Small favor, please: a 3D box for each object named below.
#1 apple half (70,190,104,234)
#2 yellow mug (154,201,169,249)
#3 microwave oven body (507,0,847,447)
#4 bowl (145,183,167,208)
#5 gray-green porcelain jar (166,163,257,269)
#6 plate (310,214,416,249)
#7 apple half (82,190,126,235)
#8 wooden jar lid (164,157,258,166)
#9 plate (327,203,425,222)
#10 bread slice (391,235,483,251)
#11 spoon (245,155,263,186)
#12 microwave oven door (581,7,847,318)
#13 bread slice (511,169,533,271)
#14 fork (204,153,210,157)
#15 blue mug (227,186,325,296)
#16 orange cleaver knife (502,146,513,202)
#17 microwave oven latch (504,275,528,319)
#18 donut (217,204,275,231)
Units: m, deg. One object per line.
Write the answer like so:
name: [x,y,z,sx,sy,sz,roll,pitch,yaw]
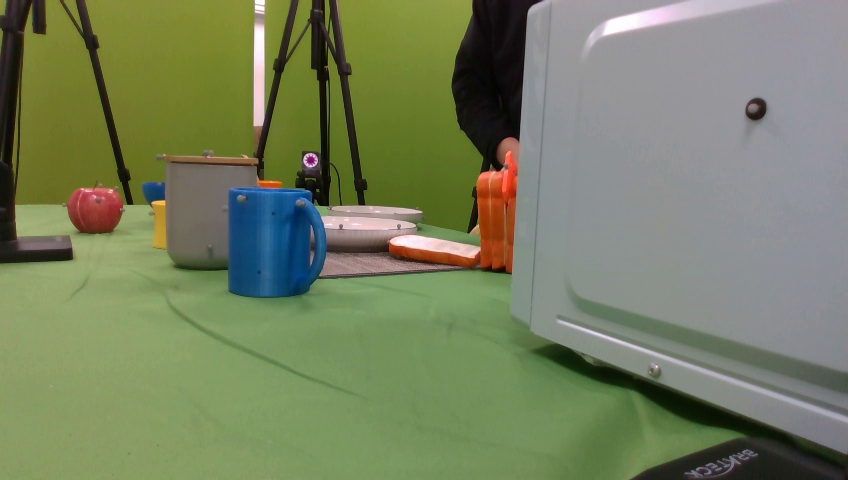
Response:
apple half: [-0.552,-0.047,1.009,0.053,0.074,0.081,-1,9,26]
yellow mug: [-0.337,-0.022,0.899,0.130,0.064,0.100,8,9,34]
microwave oven body: [0.331,-0.042,0.425,0.444,0.260,0.324,-2,8,-31]
bowl: [-0.459,-0.068,1.175,0.151,0.077,0.151,3,7,0]
gray-green porcelain jar: [-0.263,-0.031,0.754,0.106,0.126,0.106,2,7,0]
plate: [-0.116,-0.014,0.967,0.208,0.039,0.207,2,7,0]
apple half: [-0.516,-0.046,0.994,0.032,0.081,0.081,0,6,26]
wooden jar lid: [-0.261,-0.093,0.746,0.108,0.020,0.108,0,9,0]
plate: [-0.102,-0.053,1.299,0.209,0.038,0.209,2,8,0]
bread slice: [0.020,0.005,0.871,0.131,0.019,0.105,3,-1,8]
spoon: [-0.421,-0.150,1.540,0.042,0.193,0.021,-6,-34,-36]
microwave oven door: [0.295,-0.067,0.569,0.358,0.243,0.039,-3,8,-31]
bread slice: [0.133,-0.029,0.824,0.018,0.134,0.107,0,9,17]
fork: [-0.480,-0.134,1.411,0.028,0.018,0.207,1,-35,0]
blue mug: [-0.146,0.000,0.618,0.116,0.106,0.083,7,9,32]
orange cleaver knife: [0.139,-0.076,0.867,0.012,0.077,0.212,1,-6,21]
microwave oven latch: [0.100,0.042,0.470,0.079,0.029,0.030,-1,7,-28]
donut: [-0.317,-0.038,1.080,0.099,0.048,0.099,3,7,0]
